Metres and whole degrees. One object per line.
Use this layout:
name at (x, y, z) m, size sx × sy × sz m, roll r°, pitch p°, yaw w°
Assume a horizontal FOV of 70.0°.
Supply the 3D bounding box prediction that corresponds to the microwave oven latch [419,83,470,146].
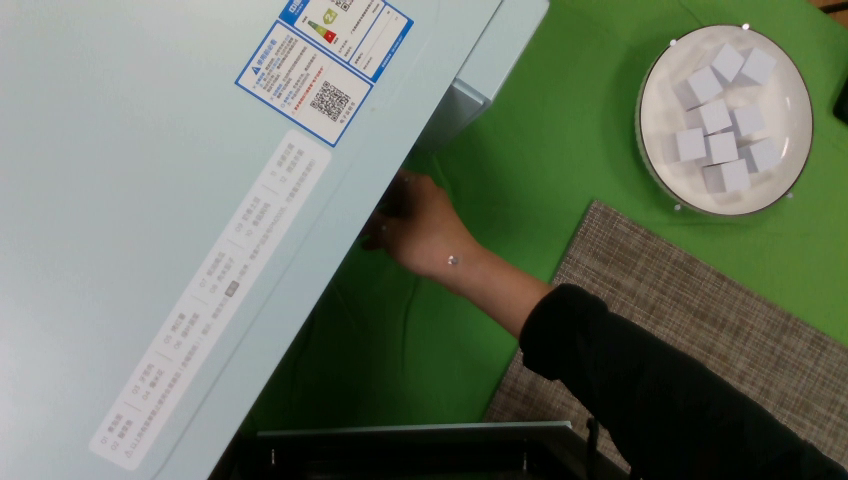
microwave oven latch at (0.017, -0.133, 0.592) m, size 0.030 × 0.029 × 0.079 m, roll 34°, pitch 86°, yaw -9°

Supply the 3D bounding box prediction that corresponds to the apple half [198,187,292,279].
apple half at (-0.155, -0.004, 0.513) m, size 0.081 × 0.032 × 0.081 m, roll 0°, pitch 91°, yaw -7°

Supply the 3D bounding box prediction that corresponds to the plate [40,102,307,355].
plate at (-0.204, -0.009, 0.512) m, size 0.210 × 0.038 × 0.209 m, roll 0°, pitch 91°, yaw -10°

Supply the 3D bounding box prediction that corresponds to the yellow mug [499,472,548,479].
yellow mug at (0.098, 0.310, 0.618) m, size 0.100 × 0.064 × 0.131 m, roll 40°, pitch 87°, yaw -8°

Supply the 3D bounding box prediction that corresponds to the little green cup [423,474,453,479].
little green cup at (0.016, 0.271, 0.617) m, size 0.062 × 0.038 × 0.061 m, roll 0°, pitch 90°, yaw -9°

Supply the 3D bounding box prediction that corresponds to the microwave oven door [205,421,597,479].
microwave oven door at (-0.005, 0.203, 0.493) m, size 0.357 × 0.243 × 0.039 m, roll 1°, pitch 89°, yaw -10°

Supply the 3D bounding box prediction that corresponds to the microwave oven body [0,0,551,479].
microwave oven body at (-0.185, -0.059, 0.461) m, size 0.327 × 0.259 × 0.441 m, roll 32°, pitch 86°, yaw -9°

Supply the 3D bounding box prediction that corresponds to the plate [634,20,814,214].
plate at (0.323, -0.131, 0.664) m, size 0.208 × 0.039 × 0.207 m, roll 0°, pitch 91°, yaw -10°

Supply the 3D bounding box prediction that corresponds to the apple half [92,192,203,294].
apple half at (-0.229, 0.007, 0.489) m, size 0.074 × 0.053 × 0.081 m, roll -44°, pitch 104°, yaw 9°
